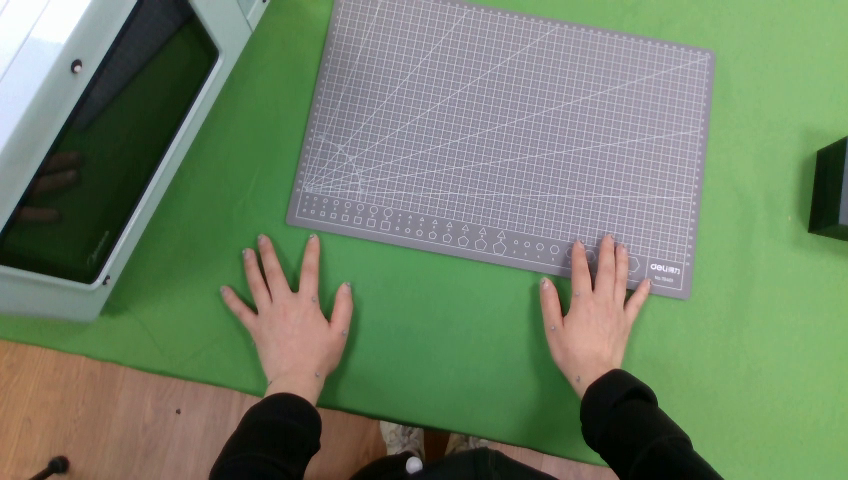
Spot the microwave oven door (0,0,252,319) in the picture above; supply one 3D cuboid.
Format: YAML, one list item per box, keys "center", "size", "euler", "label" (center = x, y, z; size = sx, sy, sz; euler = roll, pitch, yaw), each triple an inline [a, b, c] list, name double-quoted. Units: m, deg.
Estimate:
- center: [-0.275, -0.103, 0.531]
  size: [0.039, 0.244, 0.355]
  euler: [24, 80, 2]
  label: "microwave oven door"

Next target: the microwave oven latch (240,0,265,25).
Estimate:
- center: [-0.186, -0.280, 0.668]
  size: [0.030, 0.029, 0.079]
  euler: [26, 81, 1]
  label: "microwave oven latch"

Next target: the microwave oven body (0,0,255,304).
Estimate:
- center: [-0.390, -0.200, 0.546]
  size: [0.326, 0.261, 0.440]
  euler: [25, 81, 1]
  label: "microwave oven body"
